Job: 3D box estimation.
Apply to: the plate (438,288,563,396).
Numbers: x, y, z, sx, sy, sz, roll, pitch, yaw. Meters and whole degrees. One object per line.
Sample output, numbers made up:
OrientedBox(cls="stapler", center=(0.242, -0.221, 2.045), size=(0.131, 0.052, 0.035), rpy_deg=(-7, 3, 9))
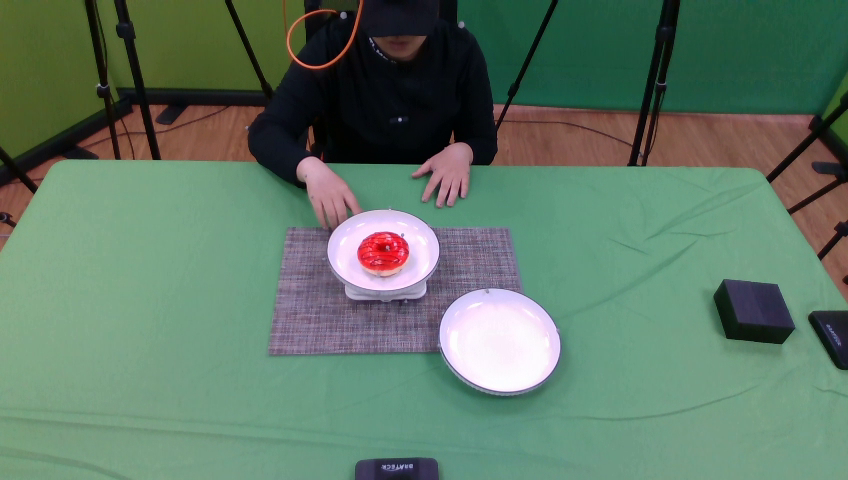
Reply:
OrientedBox(cls="plate", center=(0.127, 0.173, 1.025), size=(0.209, 0.038, 0.208), rpy_deg=(3, 48, -3))

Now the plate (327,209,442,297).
OrientedBox(cls="plate", center=(-0.072, 0.027, 1.110), size=(0.208, 0.039, 0.206), rpy_deg=(2, 46, -1))

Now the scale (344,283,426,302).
OrientedBox(cls="scale", center=(-0.075, 0.033, 1.149), size=(0.149, 0.032, 0.199), rpy_deg=(0, 46, -5))

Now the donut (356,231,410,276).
OrientedBox(cls="donut", center=(-0.073, 0.022, 1.097), size=(0.099, 0.048, 0.098), rpy_deg=(0, 45, 0))
